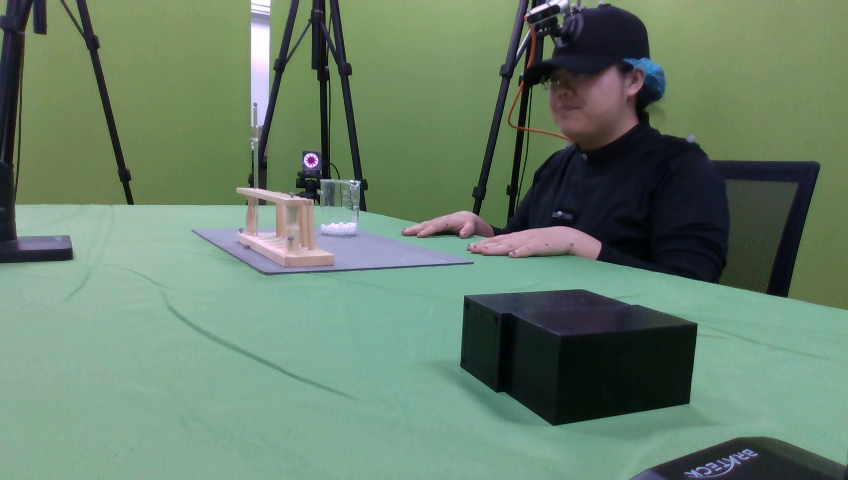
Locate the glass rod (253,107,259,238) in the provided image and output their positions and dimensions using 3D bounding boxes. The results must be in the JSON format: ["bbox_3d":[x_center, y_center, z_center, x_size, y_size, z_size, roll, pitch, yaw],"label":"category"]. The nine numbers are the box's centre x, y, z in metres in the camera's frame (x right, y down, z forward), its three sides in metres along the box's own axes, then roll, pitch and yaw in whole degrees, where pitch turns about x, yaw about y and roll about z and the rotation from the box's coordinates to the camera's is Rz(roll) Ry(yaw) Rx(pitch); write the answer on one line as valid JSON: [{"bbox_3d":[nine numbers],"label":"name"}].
[{"bbox_3d":[-0.253,-0.101,0.912,0.008,0.199,0.008,1,3,0],"label":"glass rod"}]

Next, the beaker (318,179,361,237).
[{"bbox_3d":[-0.150,-0.058,1.087,0.083,0.100,0.074,9,10,40],"label":"beaker"}]

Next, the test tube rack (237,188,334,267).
[{"bbox_3d":[-0.202,-0.024,0.855,0.067,0.085,0.241,-2,8,-30],"label":"test tube rack"}]
